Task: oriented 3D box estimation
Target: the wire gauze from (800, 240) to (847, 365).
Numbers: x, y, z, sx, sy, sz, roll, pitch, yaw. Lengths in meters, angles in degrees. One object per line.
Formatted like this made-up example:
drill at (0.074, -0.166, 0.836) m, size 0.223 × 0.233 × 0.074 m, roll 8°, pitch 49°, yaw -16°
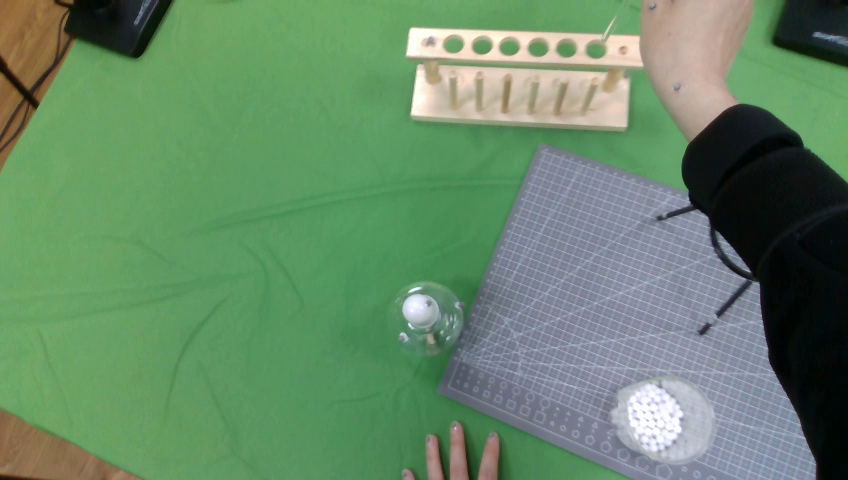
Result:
wire gauze at (0.452, 0.076, 0.605) m, size 0.125 × 0.011 × 0.121 m, roll 26°, pitch 80°, yaw 9°

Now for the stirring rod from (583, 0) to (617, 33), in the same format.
stirring rod at (0.158, -0.208, 0.446) m, size 0.006 × 0.176 × 0.014 m, roll -28°, pitch 82°, yaw -16°

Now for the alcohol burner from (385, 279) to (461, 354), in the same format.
alcohol burner at (-0.002, 0.073, 0.603) m, size 0.078 × 0.120 × 0.077 m, roll -1°, pitch 74°, yaw 4°

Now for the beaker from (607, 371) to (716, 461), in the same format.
beaker at (0.211, 0.160, 0.563) m, size 0.083 × 0.101 × 0.074 m, roll 27°, pitch 80°, yaw 13°

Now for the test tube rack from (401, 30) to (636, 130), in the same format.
test tube rack at (0.099, -0.175, 0.668) m, size 0.242 × 0.085 × 0.066 m, roll 4°, pitch 76°, yaw 7°

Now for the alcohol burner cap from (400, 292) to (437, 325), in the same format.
alcohol burner cap at (-0.007, 0.063, 0.568) m, size 0.034 × 0.048 × 0.033 m, roll -1°, pitch 79°, yaw 7°

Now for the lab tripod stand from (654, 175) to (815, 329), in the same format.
lab tripod stand at (0.292, 0.007, 0.574) m, size 0.148 × 0.132 × 0.147 m, roll -1°, pitch 77°, yaw 5°
